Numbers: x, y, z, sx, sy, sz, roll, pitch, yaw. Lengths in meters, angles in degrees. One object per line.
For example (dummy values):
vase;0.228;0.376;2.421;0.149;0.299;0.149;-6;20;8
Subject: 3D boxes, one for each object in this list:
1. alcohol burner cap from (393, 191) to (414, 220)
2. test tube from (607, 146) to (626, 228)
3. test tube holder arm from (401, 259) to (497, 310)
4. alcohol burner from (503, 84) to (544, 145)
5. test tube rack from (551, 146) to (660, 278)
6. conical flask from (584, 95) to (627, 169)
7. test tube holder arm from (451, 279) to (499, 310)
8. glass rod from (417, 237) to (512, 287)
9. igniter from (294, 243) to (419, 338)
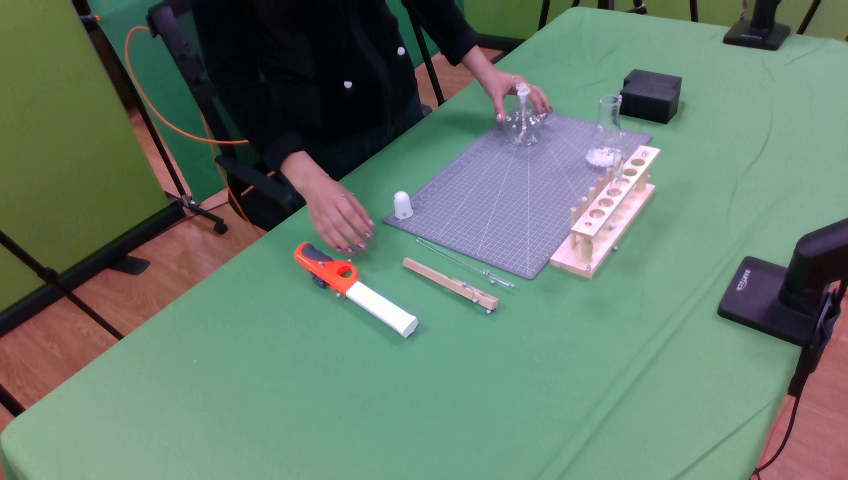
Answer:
alcohol burner cap;-0.037;-0.062;1.045;0.034;0.048;0.033;-5;40;5
test tube;0.283;-0.074;0.892;0.017;0.151;0.017;-5;44;6
test tube holder arm;0.033;0.064;0.903;0.177;0.015;0.013;23;15;33
alcohol burner;0.191;-0.244;1.160;0.078;0.119;0.077;-4;40;4
test tube rack;0.286;-0.053;0.943;0.066;0.085;0.243;21;49;32
conical flask;0.324;-0.192;1.066;0.075;0.122;0.075;-6;40;5
test tube holder arm;0.071;0.078;0.882;0.087;0.015;0.010;23;15;34
glass rod;0.059;0.032;0.945;0.198;0.008;0.008;26;52;38
igniter;-0.113;0.070;0.920;0.274;0.025;0.057;29;63;36
